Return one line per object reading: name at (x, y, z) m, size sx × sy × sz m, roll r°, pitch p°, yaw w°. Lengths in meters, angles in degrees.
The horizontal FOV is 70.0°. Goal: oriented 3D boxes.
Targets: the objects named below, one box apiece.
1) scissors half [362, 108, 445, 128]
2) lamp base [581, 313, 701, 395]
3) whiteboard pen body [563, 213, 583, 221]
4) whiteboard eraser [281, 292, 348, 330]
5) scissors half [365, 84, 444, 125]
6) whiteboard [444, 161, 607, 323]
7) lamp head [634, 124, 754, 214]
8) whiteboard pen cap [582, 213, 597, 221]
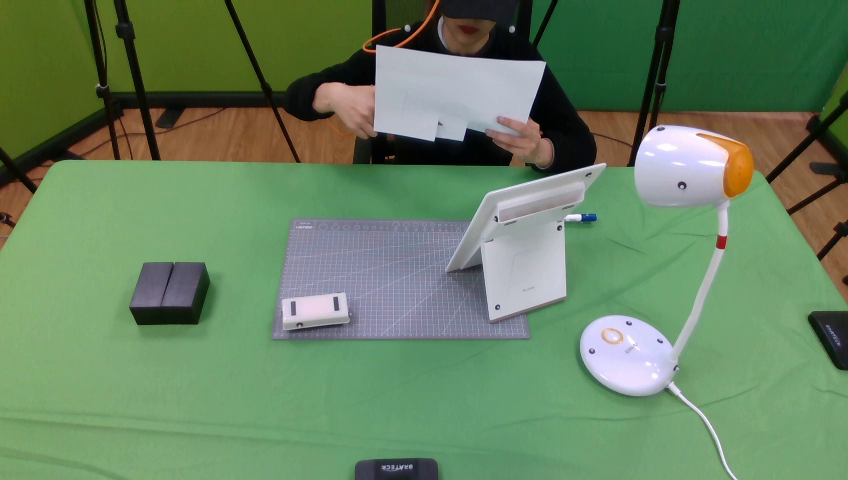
scissors half at (-0.042, -0.246, 1.213) m, size 0.175 × 0.040 × 0.013 m, roll 2°, pitch 27°, yaw 19°
lamp base at (0.361, 0.144, 0.972) m, size 0.178 × 0.181 × 0.160 m, roll 34°, pitch 53°, yaw 23°
whiteboard pen body at (0.283, -0.047, 1.257) m, size 0.141 × 0.017 × 0.017 m, roll -1°, pitch 46°, yaw -2°
whiteboard eraser at (-0.189, 0.124, 1.045) m, size 0.113 × 0.042 × 0.055 m, roll -6°, pitch 46°, yaw -10°
scissors half at (-0.038, -0.266, 1.203) m, size 0.175 × 0.040 × 0.013 m, roll 28°, pitch 28°, yaw 5°
whiteboard at (0.186, 0.025, 1.029) m, size 0.217 × 0.306 × 0.143 m, roll -14°, pitch 68°, yaw -18°
lamp head at (0.351, -0.089, 0.775) m, size 0.112 × 0.113 × 0.122 m, roll -30°, pitch 30°, yaw -28°
whiteboard pen cap at (0.342, -0.048, 1.260) m, size 0.033 × 0.018 × 0.018 m, roll -3°, pitch 46°, yaw -3°
